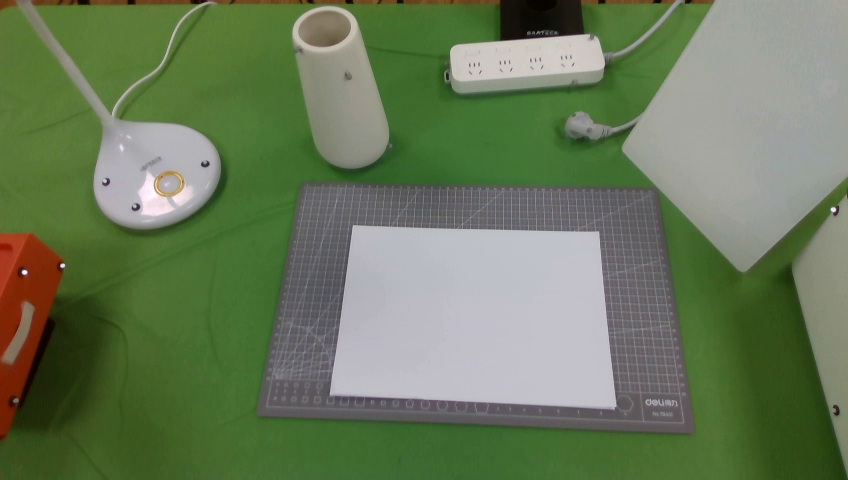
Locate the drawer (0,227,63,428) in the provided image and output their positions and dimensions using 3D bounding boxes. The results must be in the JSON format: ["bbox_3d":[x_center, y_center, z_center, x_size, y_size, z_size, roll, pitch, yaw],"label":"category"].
[{"bbox_3d":[-0.508,0.085,0.609,0.212,0.074,0.193,0,62,3],"label":"drawer"}]

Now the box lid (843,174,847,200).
[{"bbox_3d":[0.516,0.085,0.482,0.263,0.015,0.368,0,62,3],"label":"box lid"}]

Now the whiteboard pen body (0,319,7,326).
[{"bbox_3d":[-0.498,0.111,0.614,0.141,0.017,0.017,-24,62,-14],"label":"whiteboard pen body"}]

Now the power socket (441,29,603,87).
[{"bbox_3d":[0.136,-0.253,0.842,0.227,0.033,0.071,-3,62,0],"label":"power socket"}]

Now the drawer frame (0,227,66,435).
[{"bbox_3d":[-0.513,0.089,0.612,0.213,0.083,0.200,0,63,2],"label":"drawer frame"}]

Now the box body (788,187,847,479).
[{"bbox_3d":[0.519,0.123,0.547,0.254,0.162,0.361,0,62,3],"label":"box body"}]

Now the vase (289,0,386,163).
[{"bbox_3d":[-0.103,-0.181,0.719,0.098,0.201,0.097,-2,61,4],"label":"vase"}]

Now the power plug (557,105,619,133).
[{"bbox_3d":[0.211,-0.154,0.795,0.073,0.035,0.052,11,24,-36],"label":"power plug"}]

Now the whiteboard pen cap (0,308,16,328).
[{"bbox_3d":[-0.447,0.085,0.632,0.033,0.018,0.018,-26,63,-15],"label":"whiteboard pen cap"}]

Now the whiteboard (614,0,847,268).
[{"bbox_3d":[0.394,-0.157,0.658,0.144,0.307,0.215,-18,60,-29],"label":"whiteboard"}]

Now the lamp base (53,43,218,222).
[{"bbox_3d":[-0.359,-0.135,0.717,0.178,0.182,0.160,31,67,21],"label":"lamp base"}]
